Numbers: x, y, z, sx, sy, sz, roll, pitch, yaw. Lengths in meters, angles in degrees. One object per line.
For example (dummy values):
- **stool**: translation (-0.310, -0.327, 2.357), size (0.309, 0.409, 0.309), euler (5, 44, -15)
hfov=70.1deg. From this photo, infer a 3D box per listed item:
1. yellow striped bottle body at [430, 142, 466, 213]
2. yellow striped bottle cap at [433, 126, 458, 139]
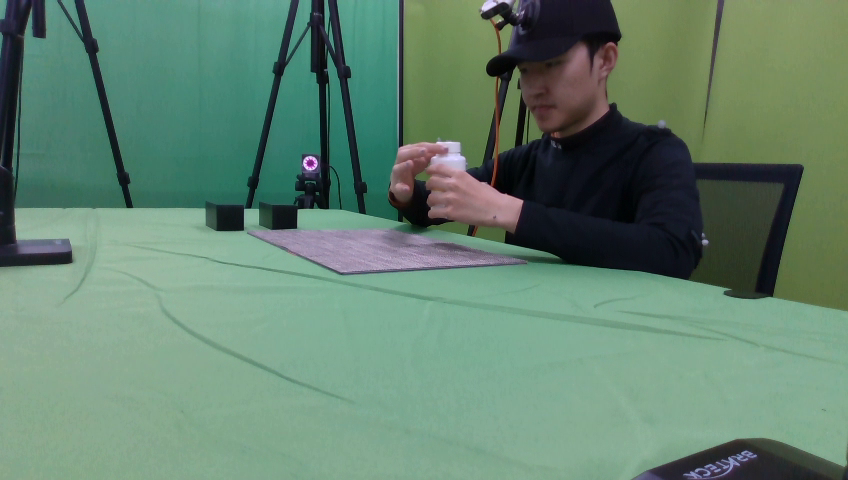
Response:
- **yellow striped bottle body**: translation (0.042, -0.111, 1.066), size (0.063, 0.120, 0.063), euler (-1, 14, 1)
- **yellow striped bottle cap**: translation (0.037, -0.186, 1.048), size (0.044, 0.018, 0.044), euler (1, 18, 0)
